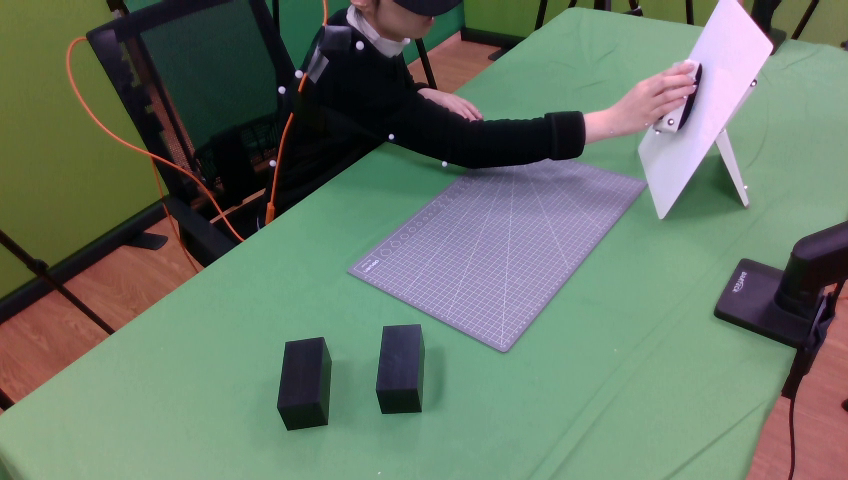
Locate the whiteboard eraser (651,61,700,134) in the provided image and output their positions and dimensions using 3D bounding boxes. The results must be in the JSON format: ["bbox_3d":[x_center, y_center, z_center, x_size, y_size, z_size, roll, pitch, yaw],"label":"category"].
[{"bbox_3d":[0.404,-0.225,0.967,0.042,0.112,0.055,15,8,-7],"label":"whiteboard eraser"}]

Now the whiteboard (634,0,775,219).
[{"bbox_3d":[0.485,-0.192,0.957,0.144,0.305,0.216,14,41,-4],"label":"whiteboard"}]
